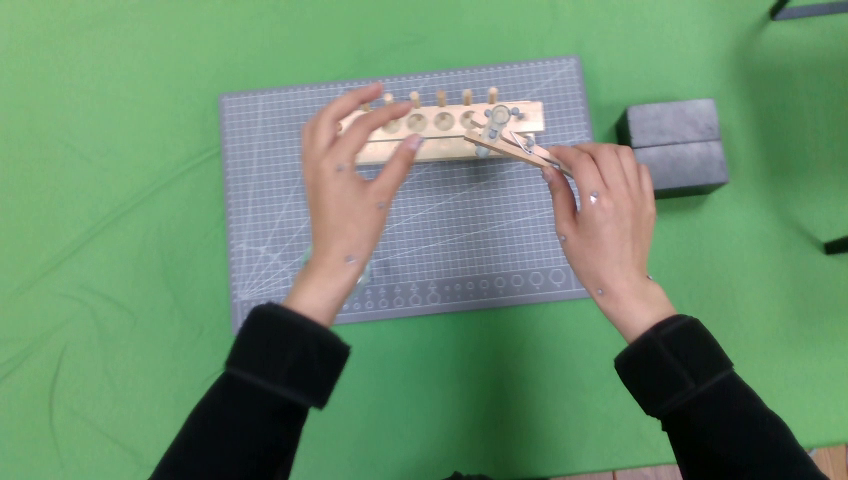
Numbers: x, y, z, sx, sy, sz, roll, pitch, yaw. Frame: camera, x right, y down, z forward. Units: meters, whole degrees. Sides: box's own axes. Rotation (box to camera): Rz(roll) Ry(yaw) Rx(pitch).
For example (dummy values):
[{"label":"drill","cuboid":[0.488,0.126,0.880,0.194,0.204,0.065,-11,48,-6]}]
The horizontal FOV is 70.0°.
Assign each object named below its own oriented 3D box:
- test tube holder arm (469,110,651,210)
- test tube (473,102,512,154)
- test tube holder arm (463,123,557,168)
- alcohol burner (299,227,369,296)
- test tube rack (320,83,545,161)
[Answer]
[{"label":"test tube holder arm","cuboid":[0.121,-0.070,0.538,0.178,0.015,0.013,26,92,-1]},{"label":"test tube","cuboid":[0.058,-0.096,0.537,0.017,0.150,0.017,0,88,-1]},{"label":"test tube holder arm","cuboid":[0.077,-0.083,0.538,0.088,0.015,0.010,20,91,-1]},{"label":"alcohol burner","cuboid":[-0.100,0.021,0.655,0.078,0.119,0.077,0,79,0]},{"label":"test tube rack","cuboid":[0.010,-0.140,0.695,0.242,0.085,0.066,-3,81,0]}]
